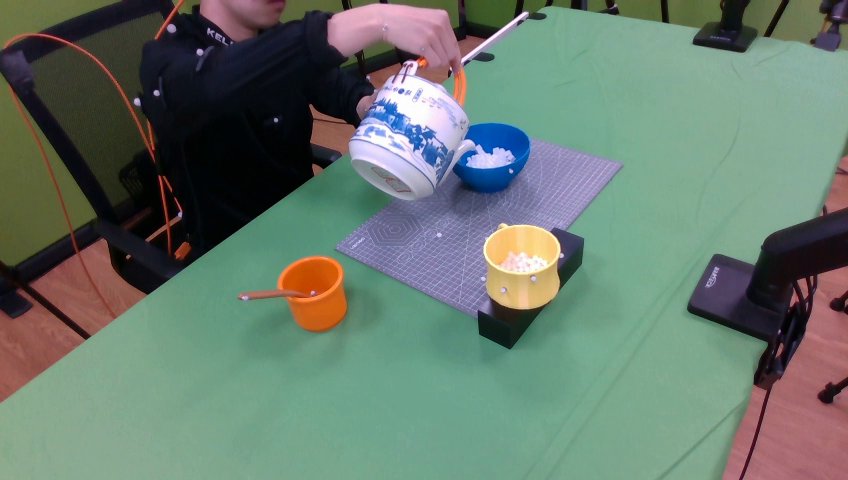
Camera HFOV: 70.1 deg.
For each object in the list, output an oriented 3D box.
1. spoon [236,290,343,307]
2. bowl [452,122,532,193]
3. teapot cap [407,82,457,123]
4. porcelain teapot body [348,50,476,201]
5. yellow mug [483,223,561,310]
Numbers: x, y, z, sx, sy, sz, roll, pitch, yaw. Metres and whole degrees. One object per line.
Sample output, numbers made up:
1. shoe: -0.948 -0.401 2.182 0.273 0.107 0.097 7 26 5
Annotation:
1. spoon: -0.176 0.076 0.808 0.041 0.195 0.021 22 93 30
2. bowl: 0.113 -0.136 1.063 0.151 0.077 0.150 -4 41 4
3. teapot cap: 0.014 -0.214 0.918 0.084 0.086 0.044 19 71 28
4. porcelain teapot body: 0.008 -0.167 0.930 0.144 0.207 0.225 17 72 40
5. yellow mug: 0.125 0.025 0.811 0.100 0.064 0.130 -16 39 -9
